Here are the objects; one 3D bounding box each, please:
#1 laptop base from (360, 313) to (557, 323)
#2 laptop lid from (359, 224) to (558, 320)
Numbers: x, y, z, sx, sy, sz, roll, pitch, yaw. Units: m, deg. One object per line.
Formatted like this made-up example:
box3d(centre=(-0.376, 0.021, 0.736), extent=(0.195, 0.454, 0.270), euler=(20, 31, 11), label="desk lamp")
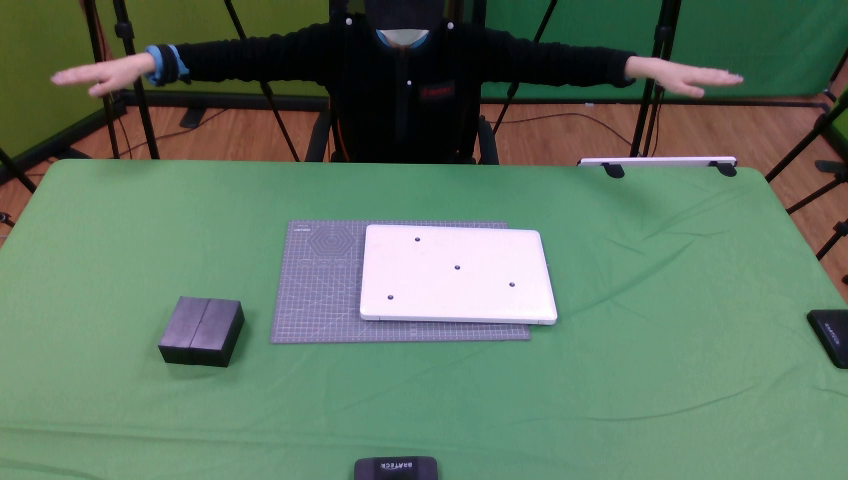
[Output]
box3d(centre=(0.061, 0.063, 1.144), extent=(0.354, 0.023, 0.234), euler=(2, 43, -3), label="laptop base")
box3d(centre=(0.061, 0.053, 1.137), extent=(0.357, 0.013, 0.240), euler=(3, 44, -2), label="laptop lid")
